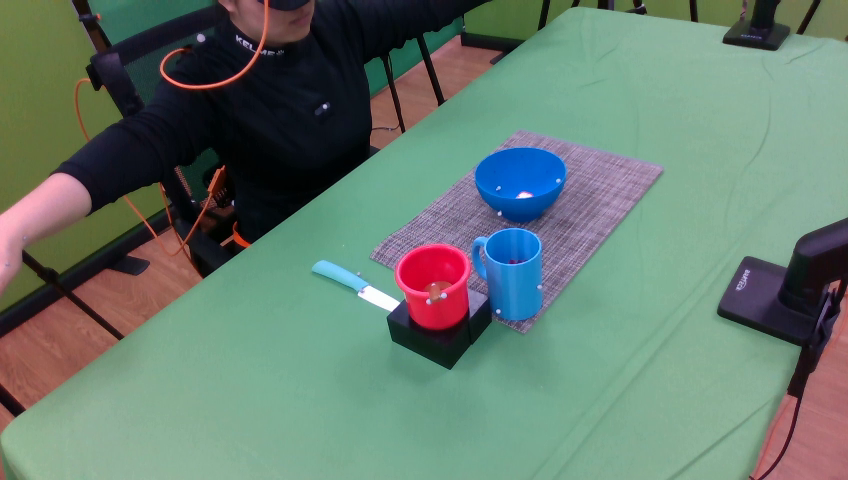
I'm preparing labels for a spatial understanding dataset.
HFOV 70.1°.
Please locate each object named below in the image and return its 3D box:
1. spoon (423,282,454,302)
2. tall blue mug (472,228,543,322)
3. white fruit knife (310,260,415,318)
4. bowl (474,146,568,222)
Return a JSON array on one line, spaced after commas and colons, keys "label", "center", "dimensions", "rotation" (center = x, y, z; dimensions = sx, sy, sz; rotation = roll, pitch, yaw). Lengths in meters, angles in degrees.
[{"label": "spoon", "center": [0.015, 0.062, 0.733], "dimensions": [0.041, 0.021, 0.194], "rotation": [-5, -4, 3]}, {"label": "tall blue mug", "center": [0.110, 0.046, 0.832], "dimensions": [0.107, 0.108, 0.077], "rotation": [6, 43, 18]}, {"label": "white fruit knife", "center": [-0.094, 0.074, 0.920], "dimensions": [0.206, 0.016, 0.027], "rotation": [24, 77, 30]}, {"label": "bowl", "center": [0.161, -0.083, 1.000], "dimensions": [0.151, 0.077, 0.150], "rotation": [-5, 40, 5]}]
